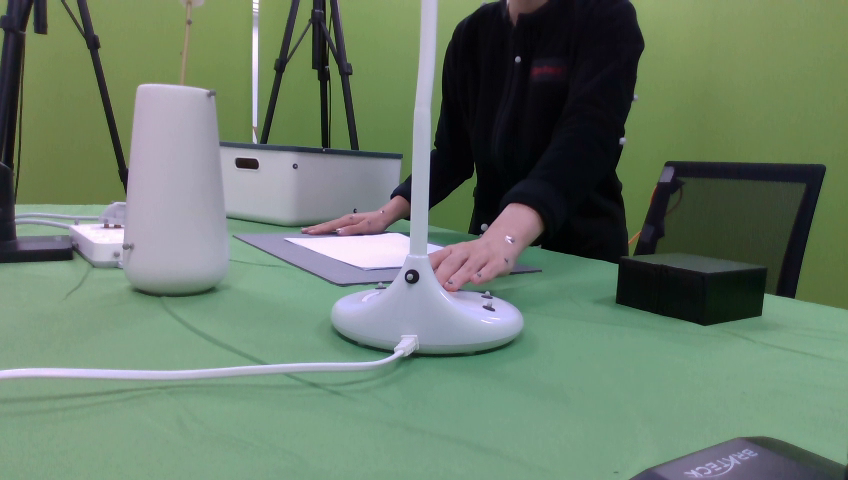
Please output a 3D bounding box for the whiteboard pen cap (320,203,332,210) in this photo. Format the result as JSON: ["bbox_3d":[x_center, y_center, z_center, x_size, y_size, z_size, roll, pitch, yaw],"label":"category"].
[{"bbox_3d":[-0.247,-0.084,1.531,0.033,0.018,0.018,9,10,39],"label":"whiteboard pen cap"}]

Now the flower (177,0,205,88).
[{"bbox_3d":[-0.243,-0.131,0.609,0.044,0.361,0.038,-5,-12,11],"label":"flower"}]

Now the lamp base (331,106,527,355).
[{"bbox_3d":[0.006,-0.012,0.478,0.161,0.180,0.179,2,10,2],"label":"lamp base"}]

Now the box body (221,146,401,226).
[{"bbox_3d":[-0.254,-0.128,1.379,0.253,0.160,0.366,8,9,36],"label":"box body"}]

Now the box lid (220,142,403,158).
[{"bbox_3d":[-0.252,-0.202,1.368,0.262,0.015,0.373,9,9,36],"label":"box lid"}]

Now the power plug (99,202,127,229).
[{"bbox_3d":[-0.415,-0.026,0.848,0.073,0.052,0.035,6,5,-28],"label":"power plug"}]

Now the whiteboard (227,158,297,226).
[{"bbox_3d":[-0.265,-0.116,1.372,0.216,0.143,0.307,4,7,35],"label":"whiteboard"}]

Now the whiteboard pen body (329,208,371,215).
[{"bbox_3d":[-0.189,-0.073,1.522,0.140,0.017,0.017,3,6,37],"label":"whiteboard pen body"}]

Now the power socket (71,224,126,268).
[{"bbox_3d":[-0.409,0.004,0.793,0.072,0.032,0.225,-2,8,-37],"label":"power socket"}]

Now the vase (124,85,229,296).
[{"bbox_3d":[-0.244,-0.047,0.598,0.098,0.200,0.098,3,8,0],"label":"vase"}]
